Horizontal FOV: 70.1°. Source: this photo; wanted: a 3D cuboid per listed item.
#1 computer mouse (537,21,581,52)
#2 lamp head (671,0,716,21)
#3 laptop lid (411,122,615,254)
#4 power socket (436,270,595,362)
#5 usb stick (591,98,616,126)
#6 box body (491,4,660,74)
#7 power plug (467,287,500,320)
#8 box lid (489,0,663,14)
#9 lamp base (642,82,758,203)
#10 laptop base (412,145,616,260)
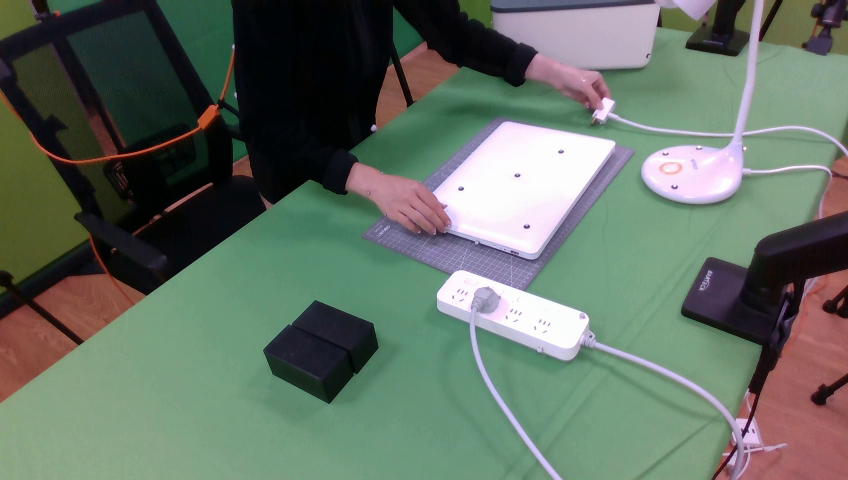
[{"bbox_3d":[0.335,-0.503,1.487,0.118,0.041,0.062,22,19,-28],"label":"computer mouse"},{"bbox_3d":[0.375,-0.373,0.807,0.122,0.113,0.112,-40,27,32],"label":"lamp head"},{"bbox_3d":[0.165,-0.110,1.066,0.240,0.013,0.357,19,46,30],"label":"laptop lid"},{"bbox_3d":[0.118,0.101,0.832,0.225,0.033,0.072,19,48,27],"label":"power socket"},{"bbox_3d":[0.356,-0.251,1.207,0.027,0.021,0.059,36,93,27],"label":"usb stick"},{"bbox_3d":[0.346,-0.520,1.429,0.363,0.161,0.253,0,41,9],"label":"box body"},{"bbox_3d":[0.073,0.092,0.814,0.035,0.053,0.073,29,54,34],"label":"power plug"},{"bbox_3d":[0.340,-0.575,1.380,0.371,0.015,0.262,0,41,9],"label":"box lid"},{"bbox_3d":[0.464,-0.174,0.992,0.179,0.181,0.159,-5,41,-2],"label":"lamp base"},{"bbox_3d":[0.168,-0.101,1.072,0.234,0.023,0.355,17,45,30],"label":"laptop base"}]
